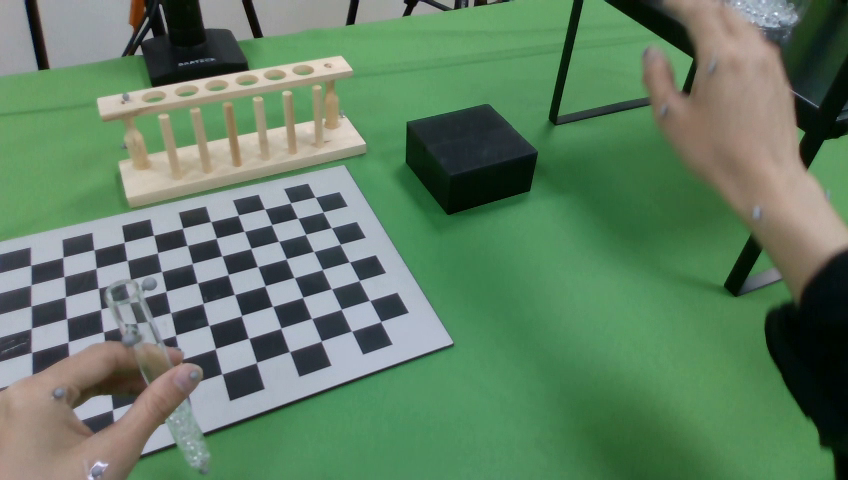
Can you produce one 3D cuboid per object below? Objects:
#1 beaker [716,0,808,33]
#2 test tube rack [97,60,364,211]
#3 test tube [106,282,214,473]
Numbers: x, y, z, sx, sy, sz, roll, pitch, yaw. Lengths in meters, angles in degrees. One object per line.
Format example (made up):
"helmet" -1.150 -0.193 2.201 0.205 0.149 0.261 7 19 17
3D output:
"beaker" 0.299 -0.237 0.515 0.074 0.101 0.083 -32 53 -32
"test tube rack" -0.187 -0.111 0.619 0.243 0.086 0.066 -17 46 -21
"test tube" -0.137 0.081 0.323 0.017 0.151 0.017 0 40 1
